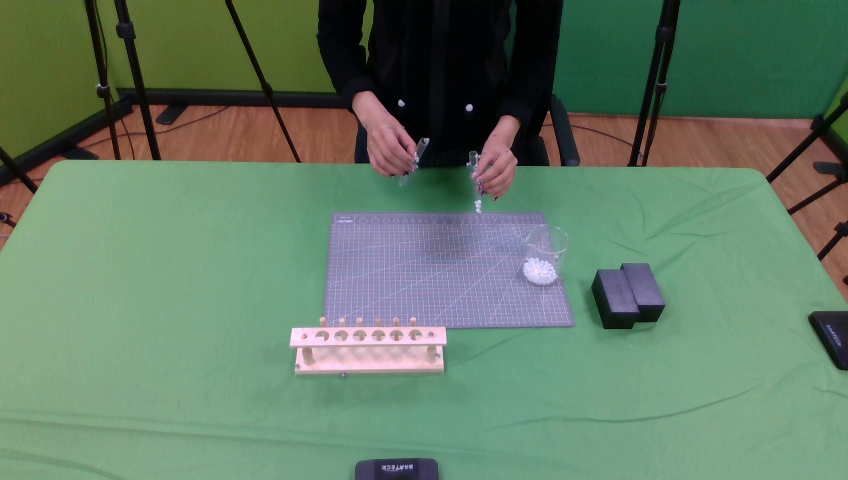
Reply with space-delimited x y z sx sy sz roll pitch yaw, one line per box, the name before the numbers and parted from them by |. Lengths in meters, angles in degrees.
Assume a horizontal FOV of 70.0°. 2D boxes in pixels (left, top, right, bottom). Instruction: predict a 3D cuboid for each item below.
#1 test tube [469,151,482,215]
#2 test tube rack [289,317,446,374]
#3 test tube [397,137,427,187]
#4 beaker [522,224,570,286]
test tube | 0.097 -0.104 1.135 0.017 0.151 0.017 -5 45 5
test tube rack | -0.089 0.167 0.988 0.242 0.085 0.066 0 46 -4
test tube | -0.024 -0.140 1.116 0.017 0.151 0.017 9 61 -16
beaker | 0.221 0.032 1.129 0.084 0.101 0.073 -6 46 -9
